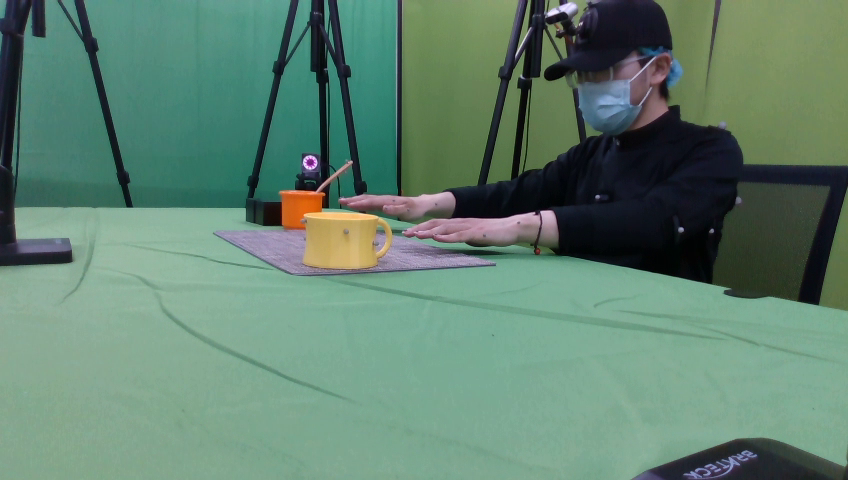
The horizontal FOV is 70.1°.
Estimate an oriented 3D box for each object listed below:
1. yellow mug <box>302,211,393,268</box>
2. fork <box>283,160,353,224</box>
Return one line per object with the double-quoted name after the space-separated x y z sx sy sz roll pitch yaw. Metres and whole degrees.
-0.098 -0.003 0.810 0.131 0.064 0.099 -2 8 -37 "yellow mug"
-0.214 -0.100 1.245 0.028 0.019 0.207 0 46 53 "fork"
